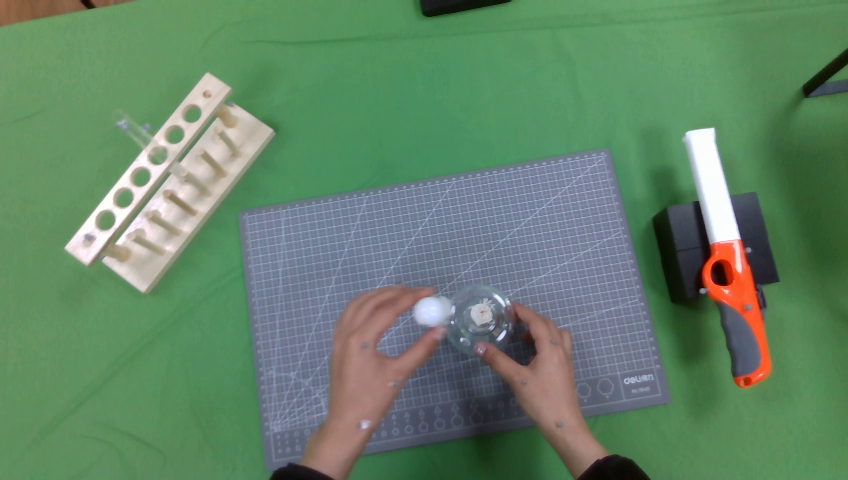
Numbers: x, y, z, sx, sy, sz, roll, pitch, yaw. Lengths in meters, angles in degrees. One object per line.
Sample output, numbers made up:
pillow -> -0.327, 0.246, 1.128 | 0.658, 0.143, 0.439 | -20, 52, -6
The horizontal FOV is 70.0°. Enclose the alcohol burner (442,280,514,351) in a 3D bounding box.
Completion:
alcohol burner -> 0.057, 0.076, 0.634 | 0.078, 0.119, 0.077 | 0, 76, 1

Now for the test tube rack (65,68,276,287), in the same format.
test tube rack -> -0.280, -0.068, 0.689 | 0.066, 0.085, 0.242 | 35, 82, 9

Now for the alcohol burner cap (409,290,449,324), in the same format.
alcohol burner cap -> 0.004, 0.063, 0.562 | 0.034, 0.048, 0.034 | -1, 85, 12

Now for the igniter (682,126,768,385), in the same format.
igniter -> 0.316, 0.011, 0.639 | 0.057, 0.025, 0.275 | -7, 77, 3

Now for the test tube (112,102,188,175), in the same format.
test tube -> -0.286, -0.104, 0.646 | 0.017, 0.151, 0.017 | -1, 74, 3
